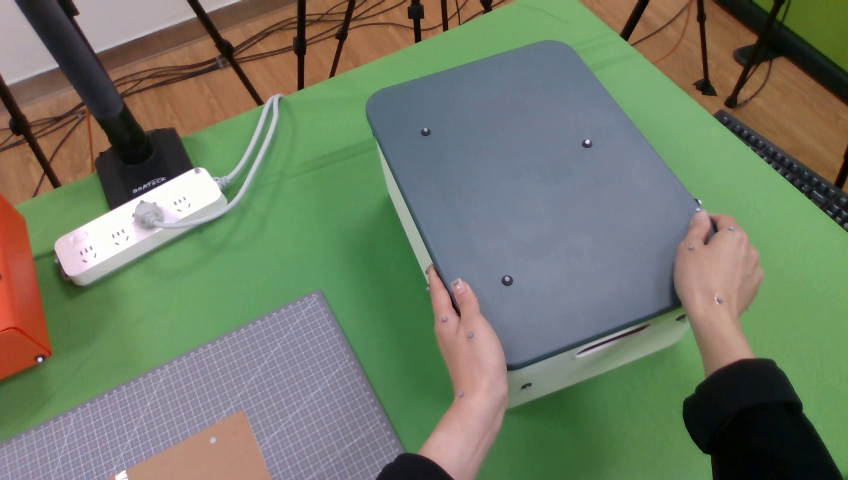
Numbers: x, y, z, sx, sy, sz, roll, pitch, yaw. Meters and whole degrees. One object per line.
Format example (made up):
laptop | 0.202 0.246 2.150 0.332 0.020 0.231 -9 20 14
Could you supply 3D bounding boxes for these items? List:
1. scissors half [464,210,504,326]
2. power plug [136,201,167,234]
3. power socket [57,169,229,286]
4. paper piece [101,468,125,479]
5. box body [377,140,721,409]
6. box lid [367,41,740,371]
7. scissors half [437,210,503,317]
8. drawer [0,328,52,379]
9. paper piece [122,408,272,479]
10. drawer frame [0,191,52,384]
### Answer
scissors half | 0.081 0.030 0.737 0.040 0.013 0.174 16 55 -1
power plug | -0.337 -0.018 0.756 0.035 0.053 0.072 -22 58 -12
power socket | -0.360 -0.019 0.786 0.227 0.033 0.071 -31 61 -17
paper piece | -0.337 0.314 0.577 0.136 0.009 0.137 -28 61 -11
box body | 0.115 -0.022 0.684 0.254 0.162 0.360 -19 58 -9
box lid | 0.112 -0.062 0.621 0.263 0.015 0.367 -19 58 -9
scissors half | 0.062 0.022 0.739 0.040 0.013 0.174 26 56 13
drawer | -0.531 0.073 0.652 0.194 0.074 0.209 -25 58 -12
paper piece | -0.222 0.257 0.608 0.135 0.004 0.134 -25 59 -13
drawer frame | -0.534 0.072 0.653 0.202 0.083 0.211 -25 58 -13
